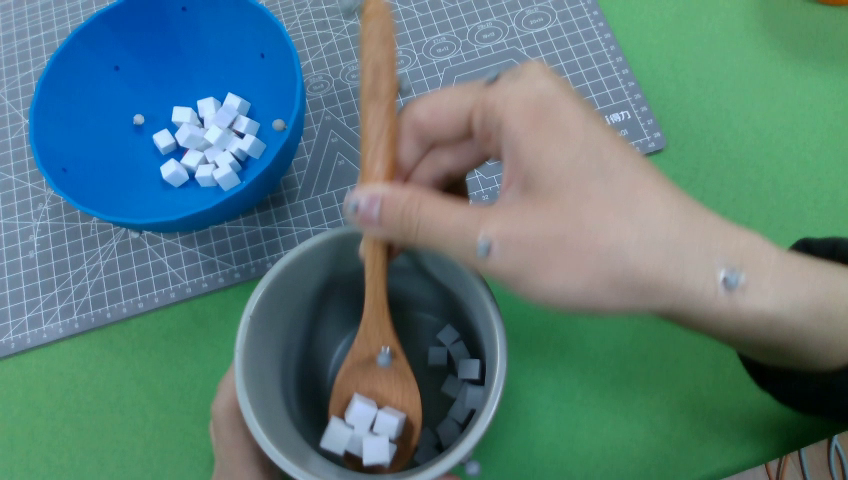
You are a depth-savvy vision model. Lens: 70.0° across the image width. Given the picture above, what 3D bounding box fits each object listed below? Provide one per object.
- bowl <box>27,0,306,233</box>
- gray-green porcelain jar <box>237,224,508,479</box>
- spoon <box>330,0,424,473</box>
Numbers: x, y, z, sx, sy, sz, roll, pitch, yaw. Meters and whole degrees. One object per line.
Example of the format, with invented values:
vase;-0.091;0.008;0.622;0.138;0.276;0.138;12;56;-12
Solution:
bowl;-0.137;-0.065;0.361;0.151;0.077;0.150;-1;71;4
gray-green porcelain jar;-0.016;0.062;0.288;0.106;0.127;0.105;-1;71;4
spoon;-0.018;0.008;0.236;0.041;0.021;0.195;6;113;7
